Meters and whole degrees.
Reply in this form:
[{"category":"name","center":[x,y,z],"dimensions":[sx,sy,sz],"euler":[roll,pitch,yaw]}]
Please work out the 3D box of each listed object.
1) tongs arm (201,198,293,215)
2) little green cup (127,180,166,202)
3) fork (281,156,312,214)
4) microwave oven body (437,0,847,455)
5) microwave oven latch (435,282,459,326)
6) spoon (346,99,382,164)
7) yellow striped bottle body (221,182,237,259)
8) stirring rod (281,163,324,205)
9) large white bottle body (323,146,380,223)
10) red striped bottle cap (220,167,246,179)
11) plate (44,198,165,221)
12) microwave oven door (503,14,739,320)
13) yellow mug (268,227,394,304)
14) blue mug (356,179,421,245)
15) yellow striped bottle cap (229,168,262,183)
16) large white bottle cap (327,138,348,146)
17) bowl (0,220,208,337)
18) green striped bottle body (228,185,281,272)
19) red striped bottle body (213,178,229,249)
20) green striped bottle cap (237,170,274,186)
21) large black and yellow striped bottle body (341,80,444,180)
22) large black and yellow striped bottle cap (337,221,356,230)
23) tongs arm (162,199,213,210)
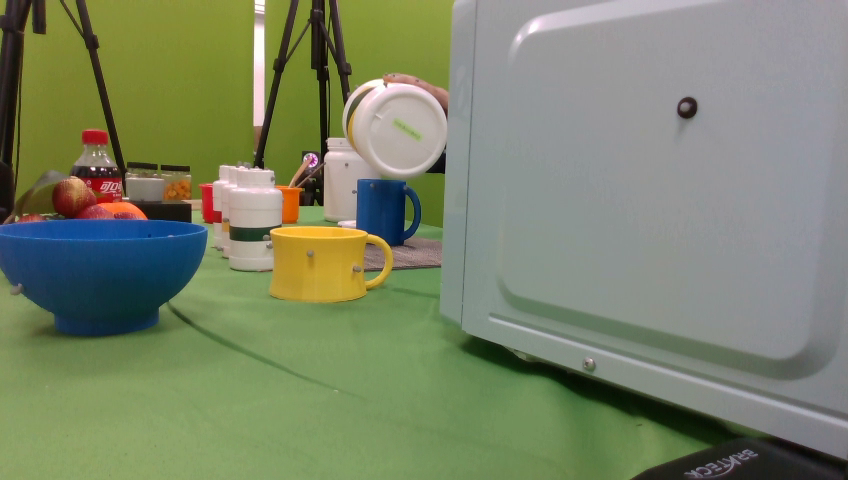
[{"category":"tongs arm","center":[-0.423,-0.085,1.472],"dimensions":[0.050,0.026,0.386],"euler":[2,6,21]},{"category":"little green cup","center":[-0.486,-0.087,1.061],"dimensions":[0.061,0.038,0.061],"euler":[0,7,0]},{"category":"fork","center":[-0.289,-0.116,1.320],"dimensions":[0.028,0.019,0.207],"euler":[0,49,25]},{"category":"microwave oven body","center":[0.279,-0.040,0.464],"dimensions":[0.444,0.260,0.324],"euler":[-3,8,-41]},{"category":"microwave oven latch","center":[0.044,0.046,0.470],"dimensions":[0.079,0.029,0.030],"euler":[-3,8,-40]},{"category":"spoon","center":[-0.103,-0.185,1.005],"dimensions":[0.021,0.042,0.193],"euler":[-32,45,12]},{"category":"yellow striped bottle body","center":[-0.244,-0.035,0.823],"dimensions":[0.063,0.120,0.063],"euler":[2,8,0]},{"category":"stirring rod","center":[-0.278,-0.105,1.293],"dimensions":[0.176,0.006,0.014],"euler":[-47,24,-18]},{"category":"large white bottle body","center":[-0.163,-0.134,1.369],"dimensions":[0.131,0.184,0.130],"euler":[2,8,0]},{"category":"red striped bottle cap","center":[-0.281,-0.100,0.901],"dimensions":[0.044,0.017,0.044],"euler":[0,5,0]},{"category":"plate","center":[-0.617,-0.056,1.179],"dimensions":[0.209,0.038,0.209],"euler":[3,7,0]},{"category":"microwave oven door","center":[0.217,-0.065,0.600],"dimensions":[0.358,0.243,0.039],"euler":[-4,10,-41]},{"category":"yellow mug","center":[-0.094,0.023,0.629],"dimensions":[0.131,0.064,0.099],"euler":[0,7,-22]},{"category":"blue mug","center":[-0.058,-0.047,1.005],"dimensions":[0.116,0.106,0.082],"euler":[5,8,23]},{"category":"yellow striped bottle cap","center":[-0.241,-0.087,0.816],"dimensions":[0.044,0.018,0.044],"euler":[-2,5,1]},{"category":"large white bottle cap","center":[-0.160,-0.218,1.357],"dimensions":[0.115,0.018,0.115],"euler":[2,8,0]},{"category":"bowl","center":[-0.251,0.029,0.479],"dimensions":[0.151,0.077,0.151],"euler":[2,7,0]},{"category":"green striped bottle body","center":[-0.208,-0.024,0.745],"dimensions":[0.063,0.119,0.063],"euler":[2,6,0]},{"category":"red striped bottle body","center":[-0.284,-0.047,0.907],"dimensions":[0.063,0.119,0.063],"euler":[2,7,0]},{"category":"green striped bottle cap","center":[-0.205,-0.075,0.737],"dimensions":[0.044,0.020,0.044],"euler":[1,6,0]},{"category":"large black and yellow striped bottle body","center":[-0.053,-0.172,0.911],"dimensions":[0.131,0.130,0.183],"euler":[0,18,-18]},{"category":"large black and yellow striped bottle cap","center":[-0.107,-0.022,1.148],"dimensions":[0.115,0.019,0.115],"euler":[1,8,0]},{"category":"tongs arm","center":[-0.504,-0.091,1.513],"dimensions":[0.028,0.028,0.389],"euler":[0,4,37]}]
